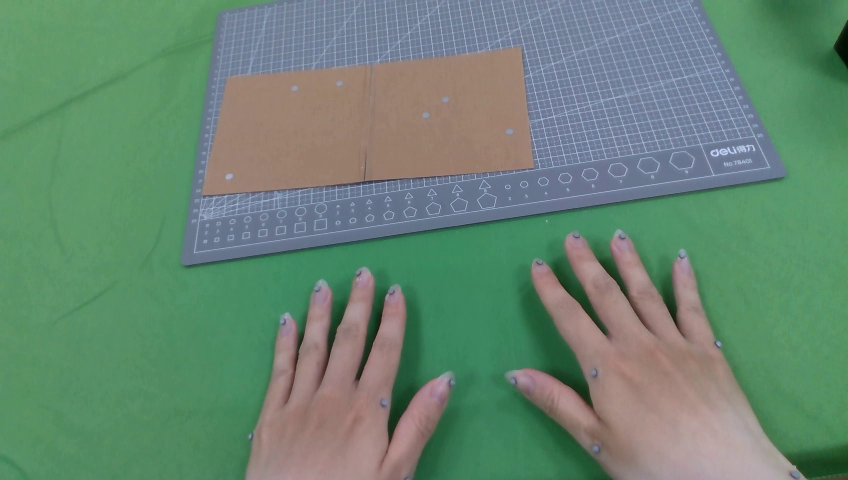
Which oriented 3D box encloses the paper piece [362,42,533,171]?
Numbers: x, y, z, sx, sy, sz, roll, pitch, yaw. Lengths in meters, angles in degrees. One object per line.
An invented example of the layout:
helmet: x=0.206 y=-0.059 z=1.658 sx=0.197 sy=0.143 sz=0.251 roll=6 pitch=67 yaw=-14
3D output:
paper piece: x=0.017 y=-0.113 z=0.503 sx=0.135 sy=0.004 sz=0.134 roll=-3 pitch=57 yaw=6

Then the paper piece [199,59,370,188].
paper piece: x=-0.115 y=-0.104 z=0.516 sx=0.138 sy=0.009 sz=0.134 roll=-4 pitch=55 yaw=7
